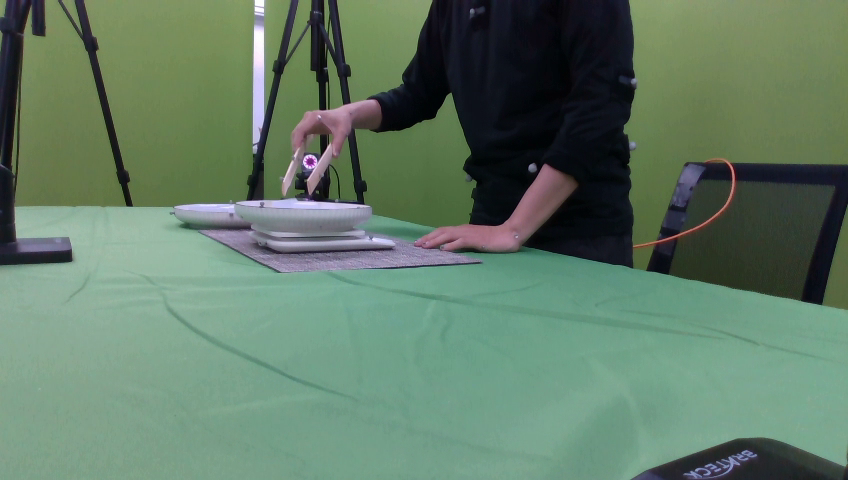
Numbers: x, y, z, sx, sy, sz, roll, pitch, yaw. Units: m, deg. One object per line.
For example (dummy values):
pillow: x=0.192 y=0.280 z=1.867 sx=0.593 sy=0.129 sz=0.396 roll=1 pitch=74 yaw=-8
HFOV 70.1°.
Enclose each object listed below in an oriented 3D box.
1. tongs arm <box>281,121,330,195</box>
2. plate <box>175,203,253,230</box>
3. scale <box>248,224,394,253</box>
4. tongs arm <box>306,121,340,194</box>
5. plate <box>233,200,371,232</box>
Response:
tongs arm: x=-0.215 y=-0.163 z=1.131 sx=0.051 sy=0.026 sz=0.384 roll=-5 pitch=25 yaw=-2
plate: x=-0.381 y=-0.047 z=1.199 sx=0.208 sy=0.039 sz=0.207 roll=3 pitch=7 yaw=0
scale: x=-0.162 y=-0.006 z=0.954 sx=0.202 sy=0.031 sz=0.148 roll=-2 pitch=8 yaw=-32
tongs arm: x=-0.188 y=-0.164 z=1.131 sx=0.028 sy=0.028 sz=0.387 roll=-6 pitch=25 yaw=2
plate: x=-0.188 y=-0.039 z=0.939 sx=0.209 sy=0.038 sz=0.209 roll=2 pitch=7 yaw=0
